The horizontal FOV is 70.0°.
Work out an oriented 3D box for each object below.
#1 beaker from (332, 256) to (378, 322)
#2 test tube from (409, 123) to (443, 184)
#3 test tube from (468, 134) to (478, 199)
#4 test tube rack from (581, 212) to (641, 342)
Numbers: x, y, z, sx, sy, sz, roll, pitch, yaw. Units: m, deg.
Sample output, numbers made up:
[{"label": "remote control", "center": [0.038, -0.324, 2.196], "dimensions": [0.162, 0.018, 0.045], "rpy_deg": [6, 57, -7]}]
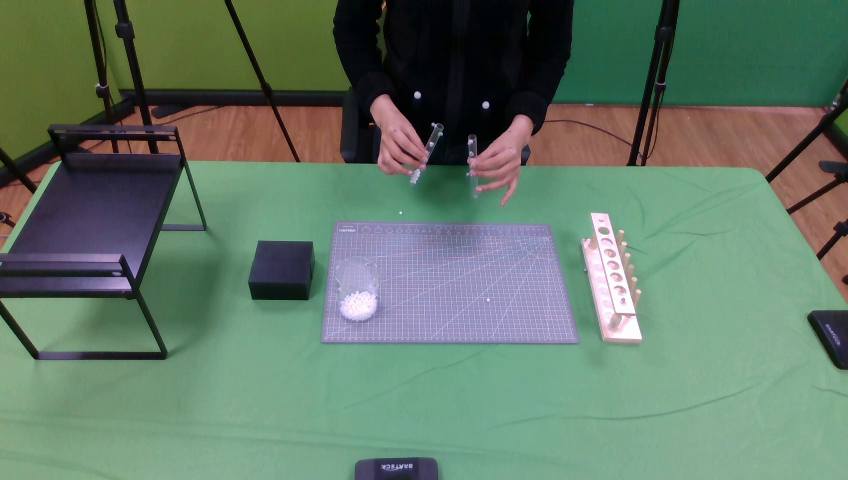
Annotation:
[{"label": "beaker", "center": [-0.114, 0.089, 1.047], "dimensions": [0.083, 0.101, 0.074], "rpy_deg": [30, 51, 21]}, {"label": "test tube", "center": [0.002, -0.158, 1.127], "dimensions": [0.017, 0.150, 0.017], "rpy_deg": [14, 47, -15]}, {"label": "test tube", "center": [0.092, -0.136, 1.144], "dimensions": [0.017, 0.151, 0.017], "rpy_deg": [-3, 46, 4]}, {"label": "test tube rack", "center": [0.351, 0.063, 1.121], "dimensions": [0.067, 0.085, 0.241], "rpy_deg": [3, 46, -2]}]
